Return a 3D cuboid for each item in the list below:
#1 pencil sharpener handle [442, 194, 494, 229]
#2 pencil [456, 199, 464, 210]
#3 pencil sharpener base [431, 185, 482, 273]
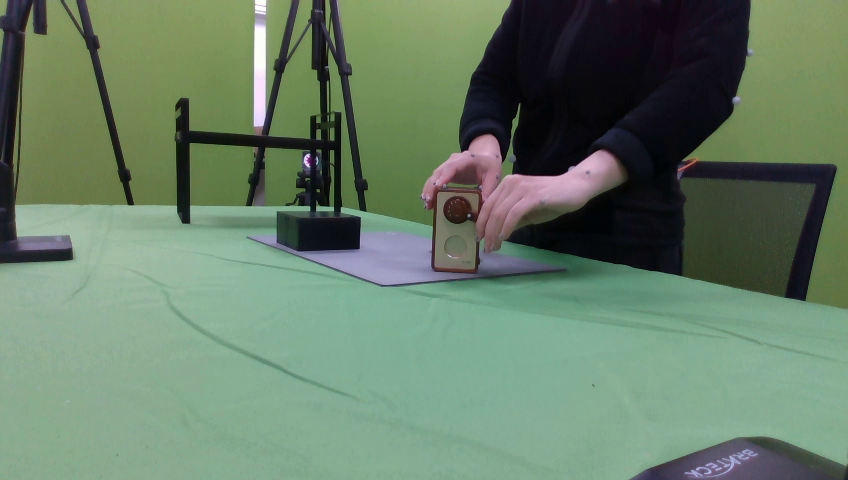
[{"bbox_3d":[0.054,-0.031,0.729,0.068,0.036,0.030,22,8,1],"label":"pencil sharpener handle"},{"bbox_3d":[0.051,-0.050,0.868,0.012,0.012,0.194,3,6,4],"label":"pencil"},{"bbox_3d":[0.042,-0.015,0.783,0.061,0.107,0.076,3,8,4],"label":"pencil sharpener base"}]
